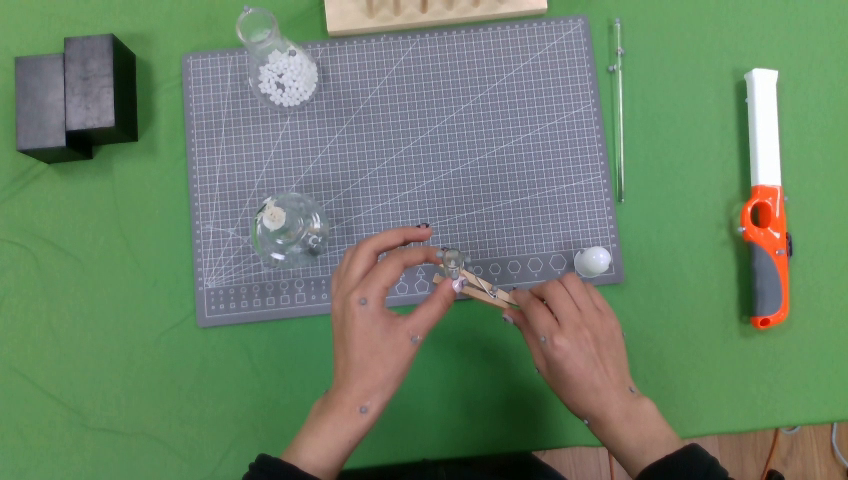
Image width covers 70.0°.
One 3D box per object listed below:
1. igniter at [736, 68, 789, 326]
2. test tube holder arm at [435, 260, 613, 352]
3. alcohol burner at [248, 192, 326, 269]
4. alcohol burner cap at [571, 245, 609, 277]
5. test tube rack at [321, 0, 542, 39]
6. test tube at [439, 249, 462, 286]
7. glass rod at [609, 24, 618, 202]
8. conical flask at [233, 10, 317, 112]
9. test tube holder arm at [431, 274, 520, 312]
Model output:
[{"bbox_3d":[0.357,-0.047,0.643,0.057,0.025,0.275,3,83,-10],"label":"igniter"},{"bbox_3d":[0.092,0.061,0.564,0.178,0.015,0.013,24,89,5],"label":"test tube holder arm"},{"bbox_3d":[-0.137,-0.012,0.589,0.078,0.119,0.077,0,81,2],"label":"alcohol burner"},{"bbox_3d":[0.173,0.020,0.623,0.034,0.048,0.033,0,82,0],"label":"alcohol burner cap"},{"bbox_3d":[0.007,-0.276,0.640,0.242,0.085,0.066,-7,83,-1],"label":"test tube rack"},{"bbox_3d":[0.023,0.025,0.504,0.017,0.151,0.017,0,81,4],"label":"test tube"},{"bbox_3d":[0.208,-0.140,0.663,0.008,0.008,0.199,1,85,0],"label":"glass rod"},{"bbox_3d":[-0.154,-0.182,0.605,0.075,0.122,0.075,0,82,0],"label":"conical flask"},{"bbox_3d":[0.049,0.050,0.568,0.088,0.015,0.010,18,88,5],"label":"test tube holder arm"}]
